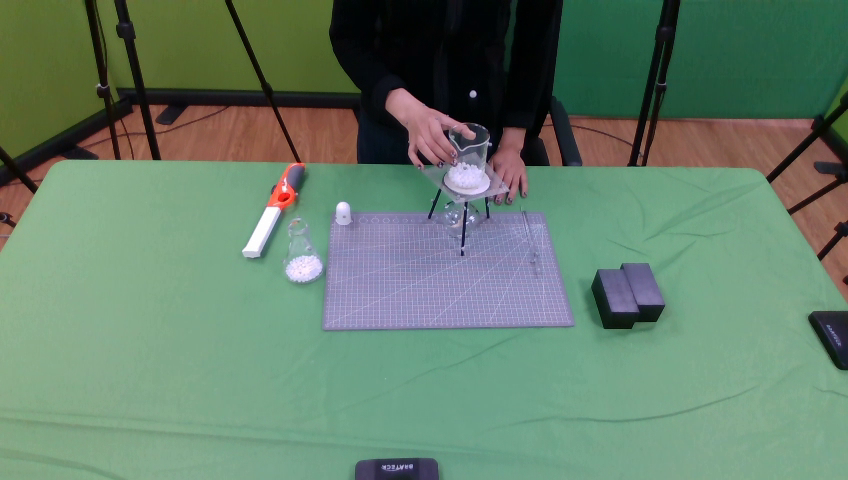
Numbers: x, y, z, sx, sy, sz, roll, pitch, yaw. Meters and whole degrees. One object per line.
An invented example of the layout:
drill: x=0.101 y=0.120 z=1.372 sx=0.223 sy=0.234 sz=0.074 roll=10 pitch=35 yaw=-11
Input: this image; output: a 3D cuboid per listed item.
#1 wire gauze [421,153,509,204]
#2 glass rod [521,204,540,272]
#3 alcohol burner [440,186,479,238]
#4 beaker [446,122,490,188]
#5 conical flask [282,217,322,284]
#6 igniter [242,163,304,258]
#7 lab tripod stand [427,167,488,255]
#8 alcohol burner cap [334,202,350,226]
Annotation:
wire gauze: x=0.077 y=-0.116 z=1.143 sx=0.125 sy=0.011 sz=0.120 roll=-19 pitch=49 yaw=-23
glass rod: x=0.214 y=-0.008 z=1.230 sx=0.008 sy=0.008 sz=0.198 roll=0 pitch=43 yaw=-3
alcohol burner: x=0.072 y=-0.061 z=1.198 sx=0.078 sy=0.119 sz=0.077 roll=3 pitch=47 yaw=-3
beaker: x=0.077 y=-0.150 z=1.104 sx=0.074 sy=0.101 sz=0.083 roll=16 pitch=45 yaw=13
conical flask: x=-0.225 y=0.016 z=1.097 sx=0.075 sy=0.122 sz=0.075 roll=3 pitch=46 yaw=-2
igniter: x=-0.305 y=-0.069 z=1.239 sx=0.057 sy=0.025 sz=0.275 roll=2 pitch=45 yaw=12
lab tripod stand: x=0.076 y=-0.068 z=1.191 sx=0.148 sy=0.132 sz=0.147 roll=2 pitch=44 yaw=-2
alcohol burner cap: x=-0.166 y=-0.055 z=1.223 sx=0.034 sy=0.048 sz=0.033 roll=2 pitch=45 yaw=-2
